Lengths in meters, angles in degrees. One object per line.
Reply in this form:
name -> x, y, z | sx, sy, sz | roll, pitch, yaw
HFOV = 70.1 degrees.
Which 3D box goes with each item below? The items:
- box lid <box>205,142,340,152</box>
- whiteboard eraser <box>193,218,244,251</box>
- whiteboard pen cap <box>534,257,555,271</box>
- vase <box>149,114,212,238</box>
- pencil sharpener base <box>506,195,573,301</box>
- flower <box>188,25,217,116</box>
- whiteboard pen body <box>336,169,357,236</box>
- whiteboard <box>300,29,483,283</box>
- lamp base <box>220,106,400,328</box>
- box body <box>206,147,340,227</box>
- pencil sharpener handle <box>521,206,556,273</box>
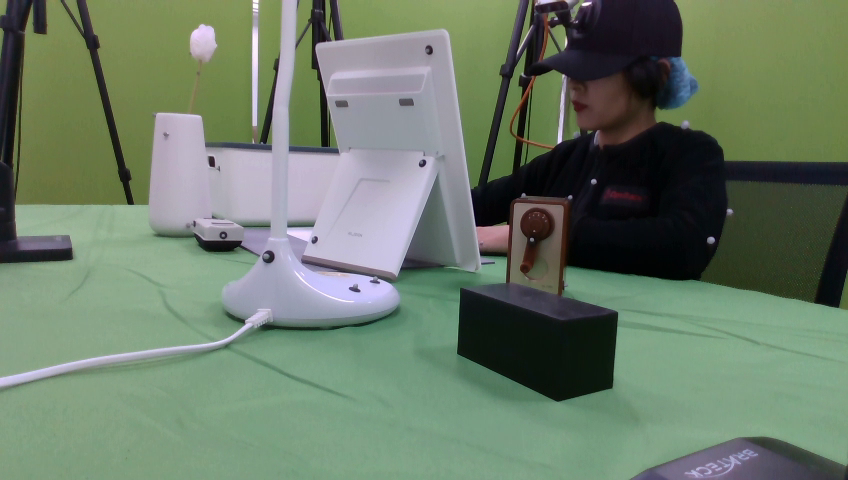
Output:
box lid -> -0.270, -0.196, 1.311 | 0.373, 0.015, 0.262 | -2, 9, -30
whiteboard eraser -> -0.307, -0.009, 0.900 | 0.056, 0.042, 0.112 | -4, 11, -28
whiteboard pen cap -> 0.167, 0.033, 0.839 | 0.018, 0.018, 0.033 | -1, 6, -23
vase -> -0.405, -0.106, 1.006 | 0.098, 0.200, 0.098 | 2, 6, 0
pencil sharpener base -> 0.127, 0.007, 0.663 | 0.061, 0.107, 0.077 | 5, 8, 15
flower -> -0.394, -0.189, 1.011 | 0.044, 0.361, 0.038 | -1, -13, 26
whiteboard pen body -> -0.144, -0.069, 1.108 | 0.017, 0.140, 0.017 | 8, -27, 4
whiteboard -> -0.074, -0.082, 0.742 | 0.216, 0.305, 0.144 | 9, 29, 38
lamp base -> -0.101, -0.023, 0.531 | 0.160, 0.180, 0.179 | 4, 10, 10
box body -> -0.276, -0.122, 1.320 | 0.366, 0.160, 0.253 | -2, 9, -30
pencil sharpener handle -> 0.111, 0.000, 0.613 | 0.036, 0.067, 0.031 | 13, 10, 14
